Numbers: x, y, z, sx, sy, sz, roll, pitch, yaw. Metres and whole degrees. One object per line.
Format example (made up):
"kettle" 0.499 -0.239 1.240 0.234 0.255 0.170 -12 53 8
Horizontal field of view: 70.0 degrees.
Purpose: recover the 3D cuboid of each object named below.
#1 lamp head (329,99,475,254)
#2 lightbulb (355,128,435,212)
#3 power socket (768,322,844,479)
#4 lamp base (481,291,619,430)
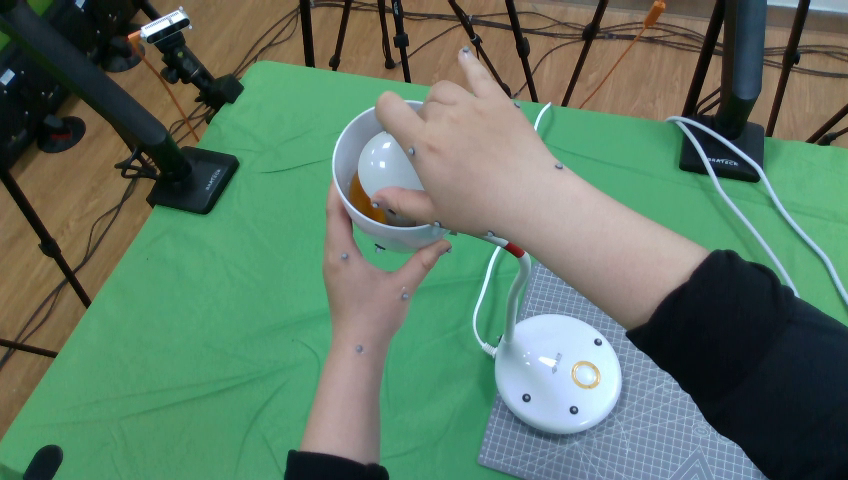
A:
"lamp head" -0.013 -0.037 0.504 0.112 0.124 0.111 -2 65 4
"lightbulb" -0.021 -0.047 0.473 0.059 0.108 0.059 0 75 0
"power socket" 0.454 0.199 0.724 0.072 0.033 0.225 12 59 13
"lamp base" 0.148 0.122 0.721 0.178 0.182 0.159 6 58 14
